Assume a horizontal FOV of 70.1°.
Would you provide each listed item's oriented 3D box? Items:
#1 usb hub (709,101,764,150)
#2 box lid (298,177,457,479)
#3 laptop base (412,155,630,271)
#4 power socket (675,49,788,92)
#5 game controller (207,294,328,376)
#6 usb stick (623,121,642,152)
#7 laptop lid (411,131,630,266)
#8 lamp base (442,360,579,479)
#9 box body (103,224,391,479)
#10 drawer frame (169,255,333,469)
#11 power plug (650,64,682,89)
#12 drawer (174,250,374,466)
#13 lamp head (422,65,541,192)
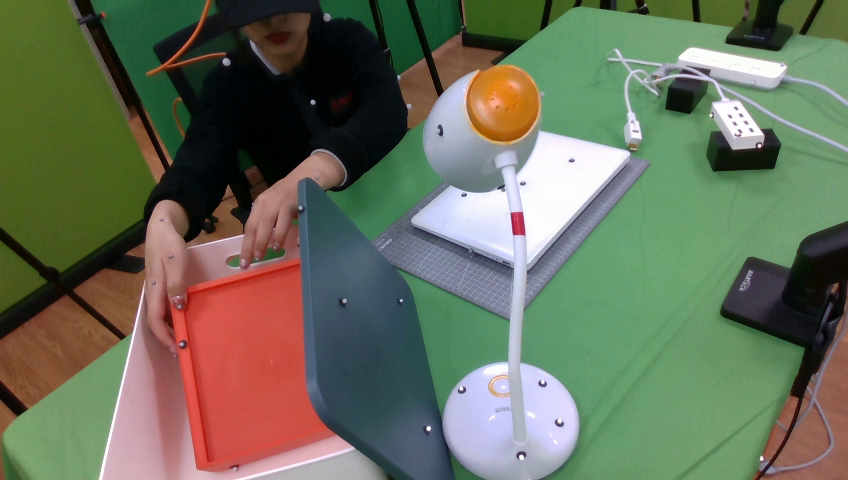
[{"bbox_3d":[0.534,-0.199,1.040,0.049,0.025,0.124,-5,39,8],"label":"usb hub"},{"bbox_3d":[-0.059,0.103,0.702,0.015,0.265,0.369,-30,39,11],"label":"box lid"},{"bbox_3d":[0.175,-0.084,1.056,0.233,0.023,0.355,20,48,36],"label":"laptop base"},{"bbox_3d":[0.647,-0.363,1.284,0.225,0.033,0.072,26,53,35],"label":"power socket"},{"bbox_3d":[-0.197,0.108,0.761,0.156,0.052,0.096,-17,38,-13],"label":"game controller"},{"bbox_3d":[0.389,-0.191,1.128,0.021,0.027,0.059,9,61,-10],"label":"usb stick"},{"bbox_3d":[0.172,-0.094,1.050,0.239,0.013,0.358,23,49,36],"label":"laptop lid"},{"bbox_3d":[0.094,0.158,0.657,0.161,0.181,0.178,-14,42,-5],"label":"lamp base"},{"bbox_3d":[-0.190,0.161,0.723,0.255,0.161,0.361,-13,40,-5],"label":"box body"},{"bbox_3d":[-0.180,0.138,0.733,0.202,0.083,0.212,-16,69,-9],"label":"drawer frame"},{"bbox_3d":[0.498,-0.341,1.263,0.035,0.052,0.072,20,10,-7],"label":"power plug"},{"bbox_3d":[-0.181,0.138,0.733,0.195,0.073,0.210,-15,66,-9],"label":"drawer"},{"bbox_3d":[0.060,-0.106,0.560,0.113,0.112,0.122,-17,0,-8],"label":"lamp head"}]
